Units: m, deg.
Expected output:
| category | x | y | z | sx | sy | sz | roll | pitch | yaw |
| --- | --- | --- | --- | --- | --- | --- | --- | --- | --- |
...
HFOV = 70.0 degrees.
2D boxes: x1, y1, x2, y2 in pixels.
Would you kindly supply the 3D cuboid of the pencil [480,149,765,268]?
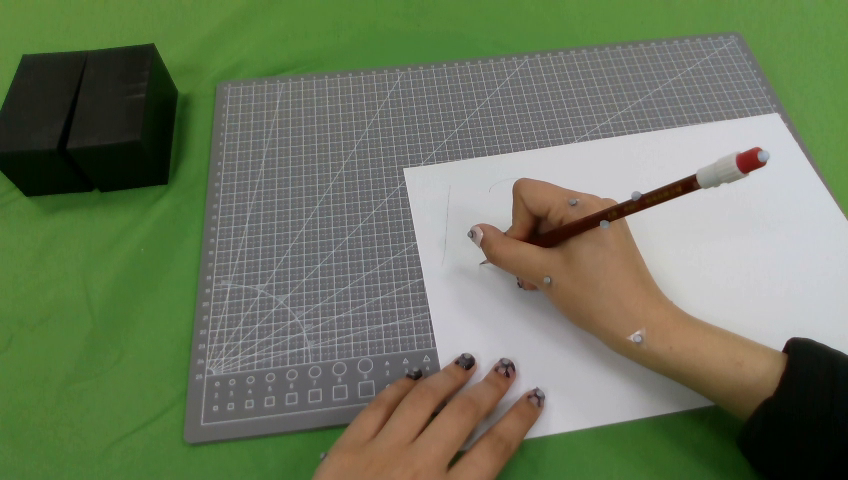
| category | x | y | z | sx | sy | sz | roll | pitch | yaw |
| --- | --- | --- | --- | --- | --- | --- | --- | --- | --- |
| pencil | 0.090 | -0.008 | 0.333 | 0.012 | 0.194 | 0.012 | 12 | 67 | -31 |
